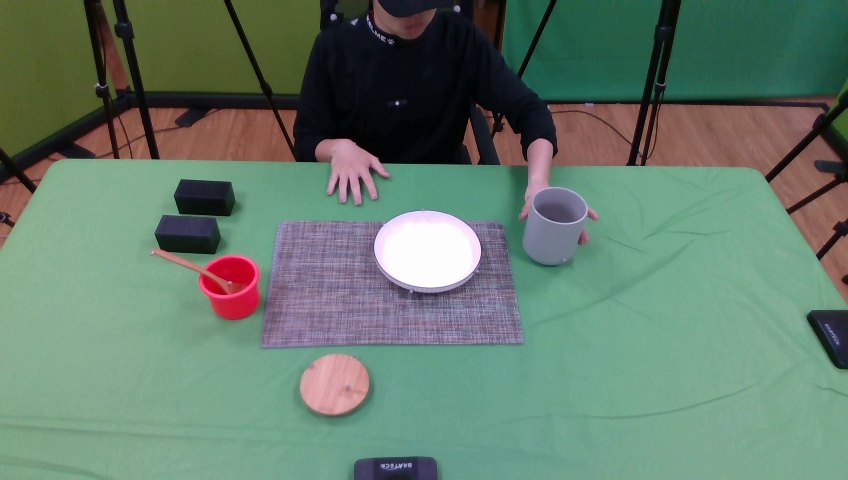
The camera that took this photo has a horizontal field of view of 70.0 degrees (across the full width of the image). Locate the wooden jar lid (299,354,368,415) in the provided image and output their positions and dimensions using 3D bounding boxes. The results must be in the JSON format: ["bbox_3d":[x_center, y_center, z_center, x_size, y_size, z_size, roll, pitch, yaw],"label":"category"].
[{"bbox_3d":[-0.143,0.232,0.964,0.108,0.021,0.107,2,45,-2],"label":"wooden jar lid"}]

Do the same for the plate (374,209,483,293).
[{"bbox_3d":[0.008,0.024,1.158,0.208,0.039,0.206,2,46,-2],"label":"plate"}]

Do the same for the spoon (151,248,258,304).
[{"bbox_3d":[-0.369,0.058,1.028,0.195,0.021,0.041,36,35,-32],"label":"spoon"}]

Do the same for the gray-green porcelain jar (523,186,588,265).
[{"bbox_3d":[0.249,-0.023,1.164,0.106,0.127,0.105,2,46,-1],"label":"gray-green porcelain jar"}]
